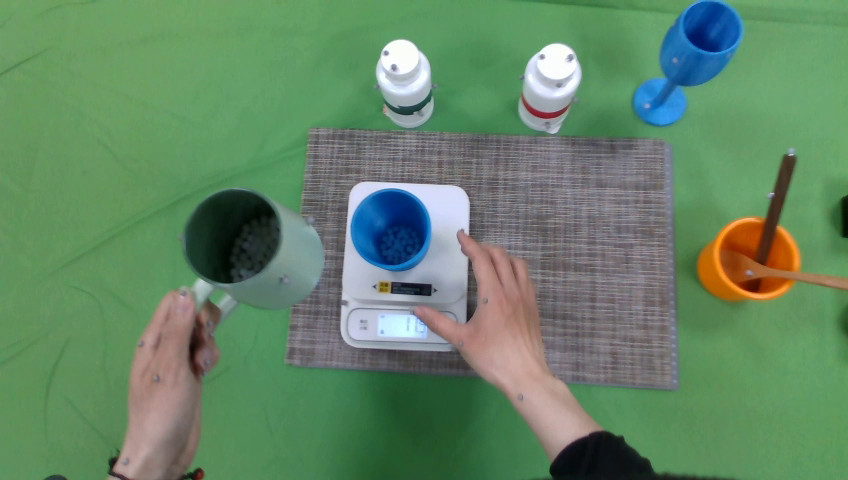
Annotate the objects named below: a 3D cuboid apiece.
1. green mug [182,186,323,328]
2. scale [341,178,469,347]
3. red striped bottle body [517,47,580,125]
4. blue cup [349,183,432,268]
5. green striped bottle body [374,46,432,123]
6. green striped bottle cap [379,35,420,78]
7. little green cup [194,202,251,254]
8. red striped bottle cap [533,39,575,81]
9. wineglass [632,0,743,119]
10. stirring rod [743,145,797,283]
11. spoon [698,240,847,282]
[{"bbox_3d":[-0.150,0.021,0.506,0.092,0.105,0.125,36,84,11],"label":"green mug"},{"bbox_3d":[-0.022,0.025,0.722,0.148,0.032,0.200,2,79,4],"label":"scale"},{"bbox_3d":[0.146,-0.187,0.715,0.063,0.120,0.063,-1,78,3],"label":"red striped bottle body"},{"bbox_3d":[-0.031,-0.008,0.663,0.092,0.100,0.092,-1,80,4],"label":"blue cup"},{"bbox_3d":[-0.024,-0.191,0.725,0.063,0.120,0.063,-1,78,3],"label":"green striped bottle body"},{"bbox_3d":[-0.028,-0.204,0.670,0.044,0.020,0.044,-1,78,4],"label":"green striped bottle cap"},{"bbox_3d":[-0.244,-0.012,0.742,0.061,0.039,0.061,0,79,2],"label":"little green cup"},{"bbox_3d":[0.142,-0.197,0.662,0.044,0.018,0.044,-1,76,4],"label":"red striped bottle cap"},{"bbox_3d":[0.289,-0.201,0.682,0.074,0.173,0.073,-1,78,4],"label":"wineglass"},{"bbox_3d":[0.372,-0.022,0.654,0.014,0.178,0.006,9,38,19],"label":"stirring rod"},{"bbox_3d":[0.388,0.030,0.643,0.022,0.192,0.041,19,86,-37],"label":"spoon"}]
